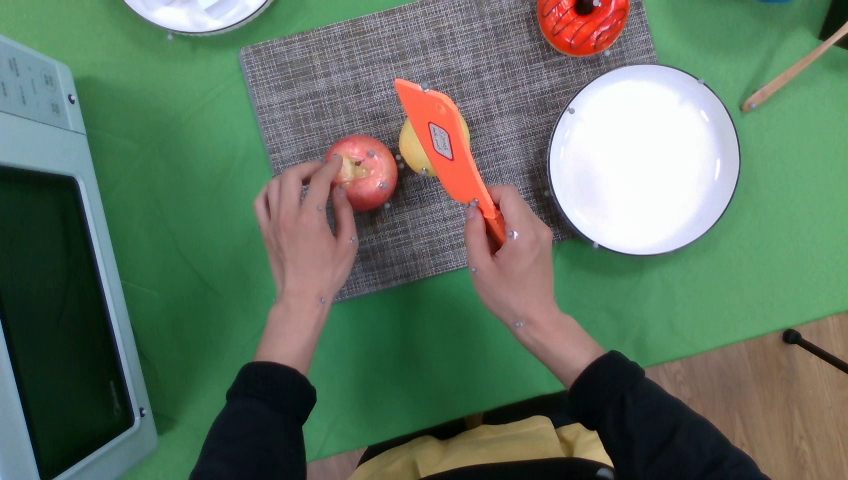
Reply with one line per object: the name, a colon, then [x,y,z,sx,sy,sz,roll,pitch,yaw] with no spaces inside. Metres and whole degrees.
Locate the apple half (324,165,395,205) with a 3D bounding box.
apple half: [-0.064,-0.054,0.649,0.081,0.081,0.033,-14,87,0]

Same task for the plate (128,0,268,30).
plate: [-0.243,-0.330,0.657,0.208,0.039,0.207,0,92,0]

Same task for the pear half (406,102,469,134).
pear half: [0.016,-0.135,0.639,0.070,0.088,0.031,14,92,4]

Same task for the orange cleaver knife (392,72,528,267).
orange cleaver knife: [0.035,-0.056,0.535,0.012,0.076,0.213,-45,127,-18]

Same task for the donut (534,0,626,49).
donut: [0.168,-0.258,0.657,0.099,0.048,0.099,0,94,2]

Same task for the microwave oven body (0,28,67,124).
microwave oven body: [-0.500,0.048,0.558,0.326,0.260,0.442,-13,93,0]

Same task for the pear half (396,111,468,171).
pear half: [0.006,-0.101,0.630,0.076,0.110,0.056,14,92,2]

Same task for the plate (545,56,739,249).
plate: [0.236,-0.094,0.668,0.209,0.038,0.209,0,93,-1]

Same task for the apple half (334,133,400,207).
apple half: [-0.067,-0.081,0.650,0.053,0.074,0.081,33,97,1]

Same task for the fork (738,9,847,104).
fork: [0.427,-0.220,0.643,0.028,0.018,0.207,44,112,-8]

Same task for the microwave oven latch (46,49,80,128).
microwave oven latch: [-0.394,-0.159,0.645,0.030,0.029,0.079,-11,93,0]

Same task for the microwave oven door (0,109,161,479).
microwave oven door: [-0.348,0.059,0.554,0.039,0.243,0.356,-13,92,0]
